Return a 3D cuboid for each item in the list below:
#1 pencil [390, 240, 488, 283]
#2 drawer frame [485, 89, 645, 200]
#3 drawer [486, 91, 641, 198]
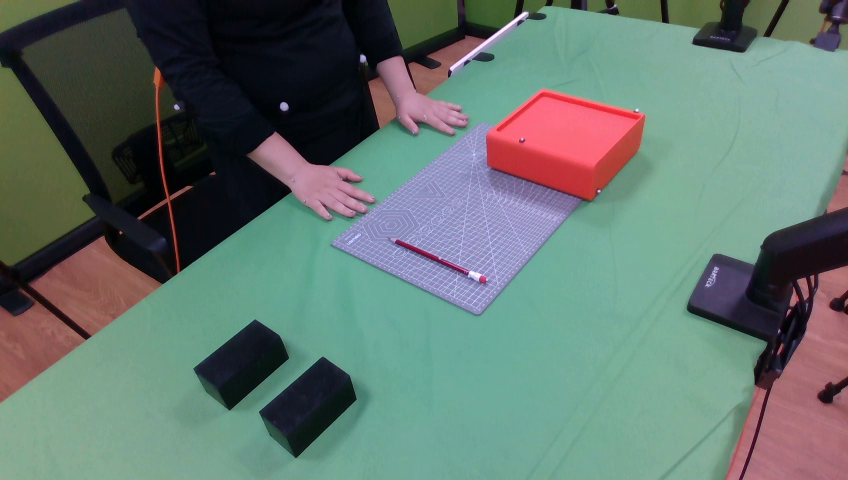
[{"bbox_3d":[0.018,0.030,0.938,0.192,0.012,0.012,22,48,33],"label":"pencil"},{"bbox_3d":[0.254,-0.179,1.094,0.212,0.083,0.202,24,48,30],"label":"drawer frame"},{"bbox_3d":[0.251,-0.179,1.095,0.210,0.073,0.195,24,48,30],"label":"drawer"}]
